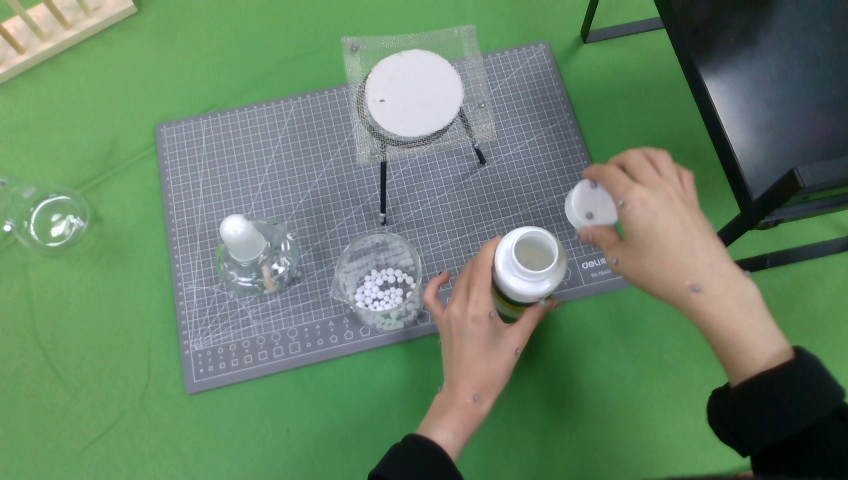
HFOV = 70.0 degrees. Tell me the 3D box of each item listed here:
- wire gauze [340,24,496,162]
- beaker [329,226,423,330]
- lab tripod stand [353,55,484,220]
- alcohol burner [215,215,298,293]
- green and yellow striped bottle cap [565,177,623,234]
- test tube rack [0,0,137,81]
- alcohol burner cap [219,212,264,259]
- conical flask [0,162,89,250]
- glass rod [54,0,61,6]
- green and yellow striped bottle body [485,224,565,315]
[{"bbox_3d":[-0.006,-0.132,0.524,0.121,0.011,0.124,-8,72,-3],"label":"wire gauze"},{"bbox_3d":[-0.040,0.042,0.557,0.084,0.101,0.073,-25,72,-6],"label":"beaker"},{"bbox_3d":[-0.011,-0.104,0.587,0.148,0.132,0.147,0,70,0],"label":"lab tripod stand"},{"bbox_3d":[-0.160,0.007,0.563,0.078,0.120,0.077,0,69,0],"label":"alcohol burner"},{"bbox_3d":[0.140,-0.029,0.498,0.045,0.020,0.045,0,74,-1],"label":"green and yellow striped bottle cap"},{"bbox_3d":[-0.461,-0.250,0.672,0.242,0.086,0.066,-33,74,-9],"label":"test tube rack"},{"bbox_3d":[-0.162,-0.007,0.529,0.034,0.048,0.033,0,64,0],"label":"alcohol burner cap"},{"bbox_3d":[-0.389,-0.042,0.582,0.075,0.122,0.075,0,71,2],"label":"conical flask"},{"bbox_3d":[-0.424,-0.314,0.623,0.008,0.201,0.008,1,68,-3],"label":"glass rod"},{"bbox_3d":[0.090,0.026,0.548,0.063,0.120,0.063,0,71,2],"label":"green and yellow striped bottle body"}]
